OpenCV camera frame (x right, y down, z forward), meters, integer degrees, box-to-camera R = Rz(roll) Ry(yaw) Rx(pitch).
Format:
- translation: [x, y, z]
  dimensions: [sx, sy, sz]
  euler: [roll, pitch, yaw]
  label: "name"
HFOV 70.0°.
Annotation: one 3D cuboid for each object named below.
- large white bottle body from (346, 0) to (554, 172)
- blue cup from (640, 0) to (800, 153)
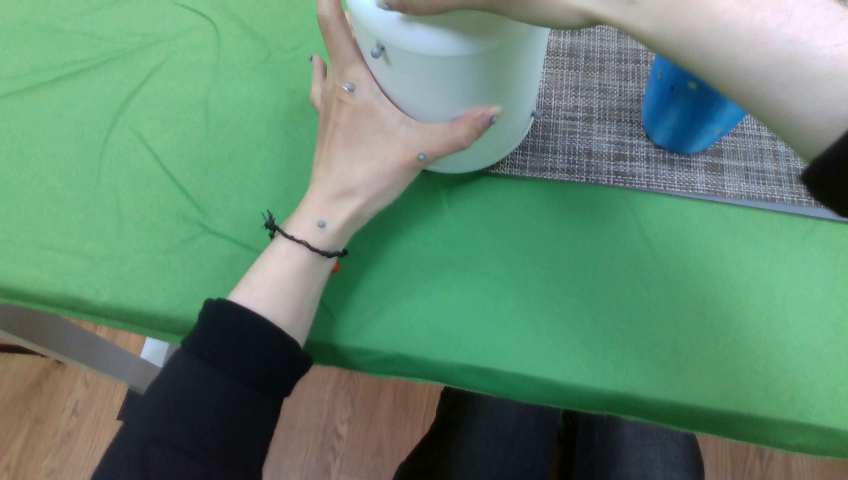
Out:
- translation: [0.017, -0.144, 0.402]
  dimensions: [0.130, 0.186, 0.129]
  euler: [-1, 67, 3]
  label: "large white bottle body"
- translation: [0.199, -0.113, 0.434]
  dimensions: [0.092, 0.101, 0.092]
  euler: [-1, 67, 2]
  label: "blue cup"
